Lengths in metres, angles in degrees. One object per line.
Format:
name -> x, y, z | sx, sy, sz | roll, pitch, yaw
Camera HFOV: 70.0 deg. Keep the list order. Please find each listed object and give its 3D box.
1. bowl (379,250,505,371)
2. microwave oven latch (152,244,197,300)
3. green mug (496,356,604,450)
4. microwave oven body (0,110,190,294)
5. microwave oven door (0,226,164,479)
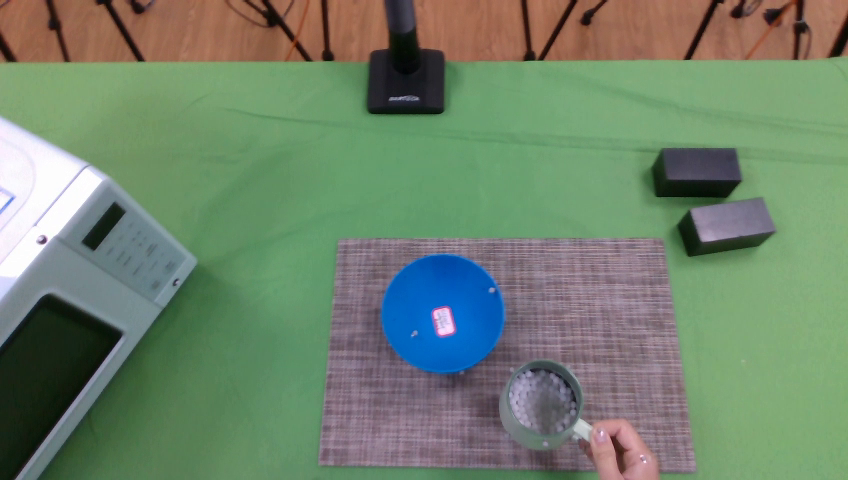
bowl -> 0.022, 0.096, 0.760 | 0.151, 0.077, 0.150 | -1, 67, 2
microwave oven latch -> -0.336, 0.039, 0.805 | 0.030, 0.030, 0.079 | 29, 72, 13
green mug -> 0.140, 0.186, 0.664 | 0.124, 0.106, 0.092 | 33, 75, 17
microwave oven body -> -0.557, 0.079, 0.692 | 0.325, 0.262, 0.440 | 27, 72, 12
microwave oven door -> -0.451, 0.175, 0.642 | 0.039, 0.245, 0.354 | 27, 71, 14
